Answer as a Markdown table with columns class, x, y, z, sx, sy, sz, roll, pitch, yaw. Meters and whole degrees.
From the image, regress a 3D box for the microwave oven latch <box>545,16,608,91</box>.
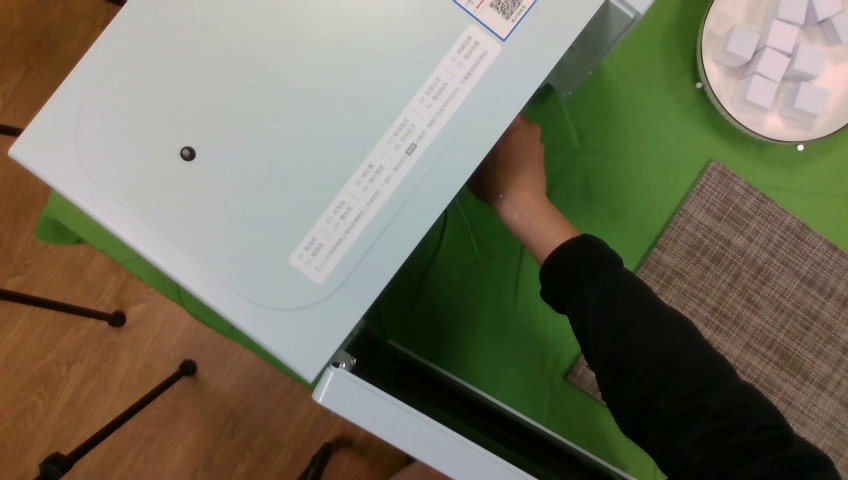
| class | x | y | z | sx | sy | sz | roll | pitch | yaw |
| --- | --- | --- | --- | --- | --- | --- | --- | --- | --- |
| microwave oven latch | 0.163 | -0.201 | 0.657 | 0.030 | 0.029 | 0.079 | 41 | 89 | -1 |

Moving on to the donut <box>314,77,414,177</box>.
| class | x | y | z | sx | sy | sz | roll | pitch | yaw |
| --- | --- | --- | --- | --- | --- | --- | --- | --- | --- |
| donut | -0.059 | -0.110 | 0.593 | 0.099 | 0.048 | 0.099 | 0 | 90 | -1 |

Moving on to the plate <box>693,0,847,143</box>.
| class | x | y | z | sx | sy | sz | roll | pitch | yaw |
| --- | --- | --- | --- | --- | --- | --- | --- | --- | --- |
| plate | 0.402 | -0.211 | 0.684 | 0.208 | 0.039 | 0.207 | 0 | 89 | -2 |

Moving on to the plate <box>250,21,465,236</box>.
| class | x | y | z | sx | sy | sz | roll | pitch | yaw |
| --- | --- | --- | --- | --- | --- | --- | --- | --- | --- |
| plate | -0.064 | -0.108 | 0.602 | 0.209 | 0.038 | 0.209 | 0 | 91 | -2 |

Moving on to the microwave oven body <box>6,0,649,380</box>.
| class | x | y | z | sx | sy | sz | roll | pitch | yaw |
| --- | --- | --- | --- | --- | --- | --- | --- | --- | --- |
| microwave oven body | -0.059 | -0.152 | 0.553 | 0.326 | 0.260 | 0.441 | 37 | 89 | -1 |

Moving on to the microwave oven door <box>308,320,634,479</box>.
| class | x | y | z | sx | sy | sz | roll | pitch | yaw |
| --- | --- | --- | --- | --- | --- | --- | --- | --- | --- |
| microwave oven door | 0.074 | 0.187 | 0.549 | 0.356 | 0.244 | 0.039 | 29 | 88 | -1 |
